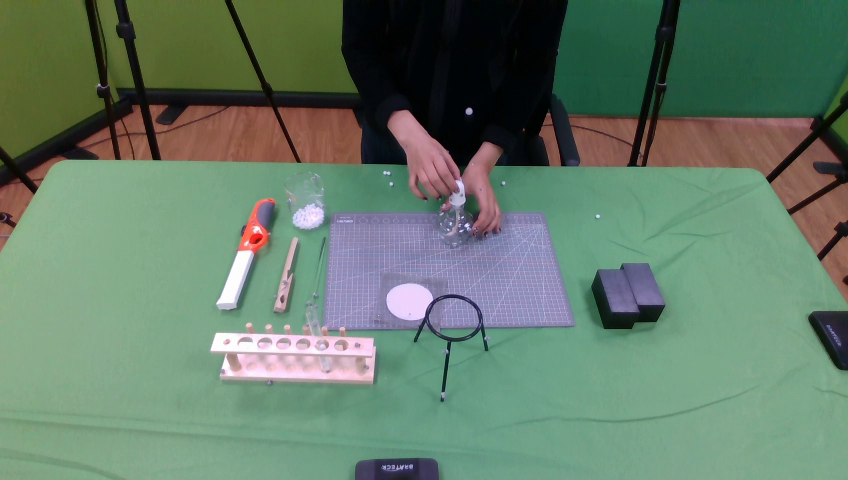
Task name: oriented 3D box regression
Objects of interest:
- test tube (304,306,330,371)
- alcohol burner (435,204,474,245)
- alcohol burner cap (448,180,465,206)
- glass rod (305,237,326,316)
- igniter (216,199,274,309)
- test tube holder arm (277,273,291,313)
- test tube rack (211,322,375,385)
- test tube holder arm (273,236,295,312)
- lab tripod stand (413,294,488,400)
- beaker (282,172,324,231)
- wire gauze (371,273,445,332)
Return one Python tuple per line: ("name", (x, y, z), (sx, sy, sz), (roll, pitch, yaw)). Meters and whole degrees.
("test tube", (-0.162, 0.154, 0.925), (0.017, 0.151, 0.017), (-2, 44, 2))
("alcohol burner", (0.061, -0.046, 1.182), (0.078, 0.119, 0.077), (3, 46, -3))
("alcohol burner cap", (0.060, -0.091, 1.131), (0.034, 0.048, 0.033), (-3, 48, 3))
("glass rod", (-0.202, 0.064, 1.131), (0.008, 0.008, 0.198), (4, 43, 0))
("igniter", (-0.336, 0.017, 1.152), (0.057, 0.025, 0.275), (-2, 45, 8))
("test tube holder arm", (-0.253, 0.094, 1.094), (0.010, 0.015, 0.087), (28, 39, -26))
("test tube rack", (-0.202, 0.176, 0.969), (0.242, 0.085, 0.066), (3, 46, -2))
("test tube holder arm", (-0.258, 0.059, 1.123), (0.013, 0.015, 0.177), (27, 39, -26))
("lab tripod stand", (0.045, 0.159, 0.972), (0.148, 0.132, 0.147), (2, 44, -2))
("beaker", (-0.234, -0.073, 1.198), (0.084, 0.101, 0.074), (24, 49, 17))
("wire gauze", (-0.028, 0.109, 1.099), (0.125, 0.011, 0.121), (7, 45, 4))
